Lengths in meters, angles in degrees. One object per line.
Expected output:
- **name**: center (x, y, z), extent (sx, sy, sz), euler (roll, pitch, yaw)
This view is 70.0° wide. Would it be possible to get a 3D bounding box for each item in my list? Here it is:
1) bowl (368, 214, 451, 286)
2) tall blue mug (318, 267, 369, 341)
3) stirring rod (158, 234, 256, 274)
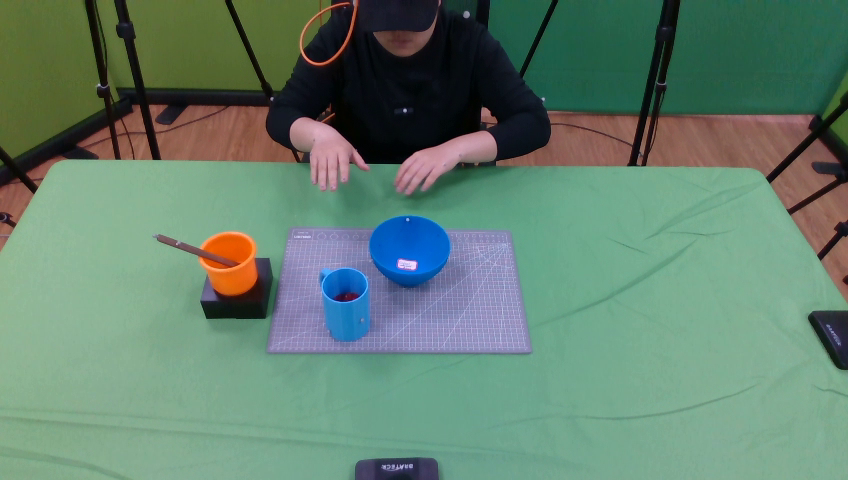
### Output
- **bowl**: center (-0.028, 0.031, 1.122), extent (0.151, 0.077, 0.150), euler (2, 46, -2)
- **tall blue mug**: center (-0.146, 0.104, 1.022), extent (0.107, 0.108, 0.077), euler (19, 49, 14)
- **stirring rod**: center (-0.354, 0.025, 0.999), extent (0.177, 0.006, 0.014), euler (27, 29, -40)
